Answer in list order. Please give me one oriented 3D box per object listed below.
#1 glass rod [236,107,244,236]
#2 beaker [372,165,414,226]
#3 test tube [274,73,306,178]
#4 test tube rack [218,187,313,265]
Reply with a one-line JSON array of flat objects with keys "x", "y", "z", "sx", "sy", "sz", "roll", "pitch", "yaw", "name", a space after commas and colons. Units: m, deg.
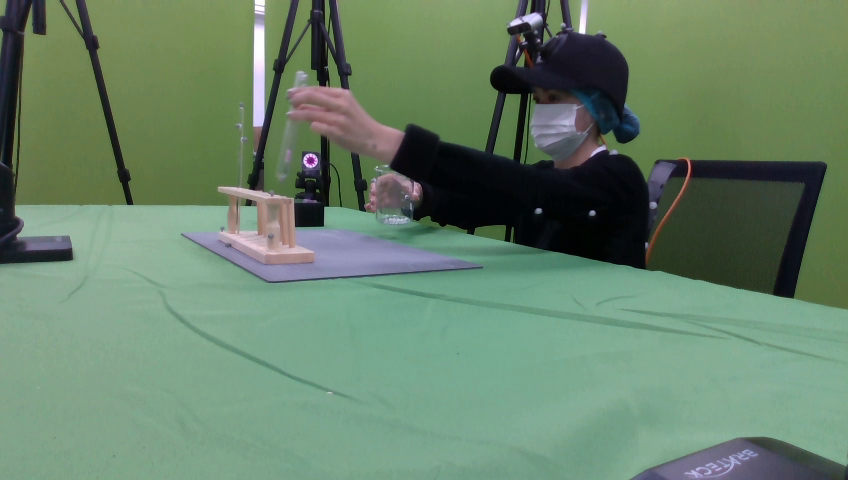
[{"x": -0.282, "y": -0.103, "z": 0.925, "sx": 0.008, "sy": 0.199, "sz": 0.008, "roll": 2, "pitch": 2, "yaw": 0, "name": "glass rod"}, {"x": -0.053, "y": -0.080, "z": 1.086, "sx": 0.074, "sy": 0.100, "sz": 0.083, "roll": -7, "pitch": 19, "yaw": -28, "name": "beaker"}, {"x": -0.187, "y": -0.159, "z": 0.841, "sx": 0.017, "sy": 0.150, "sz": 0.017, "roll": 11, "pitch": -3, "yaw": 1, "name": "test tube"}, {"x": -0.235, "y": -0.027, "z": 0.872, "sx": 0.067, "sy": 0.085, "sz": 0.241, "roll": -2, "pitch": 8, "yaw": -32, "name": "test tube rack"}]
